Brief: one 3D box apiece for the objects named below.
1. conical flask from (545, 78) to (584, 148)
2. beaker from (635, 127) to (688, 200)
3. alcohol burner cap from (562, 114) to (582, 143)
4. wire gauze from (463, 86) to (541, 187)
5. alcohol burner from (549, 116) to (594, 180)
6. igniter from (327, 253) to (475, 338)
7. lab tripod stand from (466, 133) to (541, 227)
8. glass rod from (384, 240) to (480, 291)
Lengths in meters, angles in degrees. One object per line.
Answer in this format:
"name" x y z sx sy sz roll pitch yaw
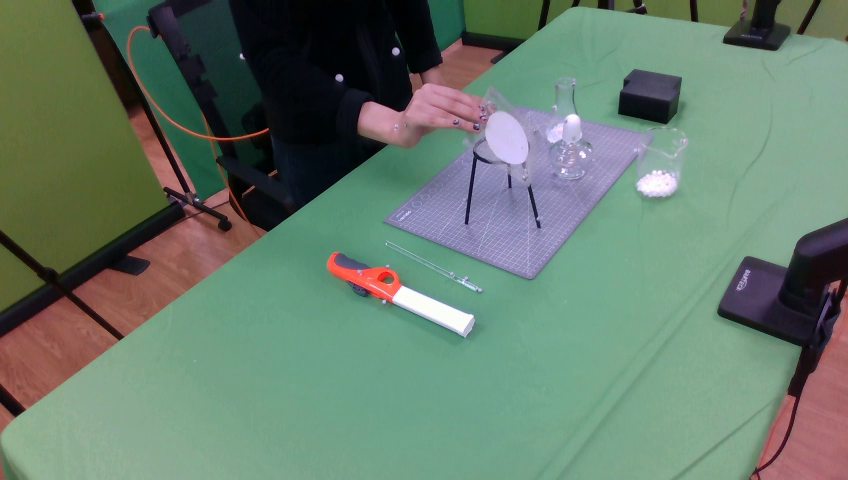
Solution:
"conical flask" 0.264 -0.241 1.135 0.075 0.122 0.075 -6 40 5
"beaker" 0.388 -0.122 0.994 0.074 0.101 0.083 -8 41 2
"alcohol burner cap" 0.254 -0.192 1.030 0.034 0.048 0.033 -4 50 6
"wire gauze" 0.123 -0.153 0.899 0.011 0.122 0.125 -29 32 50
"alcohol burner" 0.258 -0.166 1.055 0.078 0.120 0.077 -6 42 6
"igniter" -0.045 0.077 0.898 0.274 0.025 0.057 22 60 32
"lab tripod stand" 0.129 -0.099 0.985 0.148 0.132 0.147 -6 38 6
"glass rod" 0.009 0.037 0.949 0.198 0.008 0.008 26 52 34
